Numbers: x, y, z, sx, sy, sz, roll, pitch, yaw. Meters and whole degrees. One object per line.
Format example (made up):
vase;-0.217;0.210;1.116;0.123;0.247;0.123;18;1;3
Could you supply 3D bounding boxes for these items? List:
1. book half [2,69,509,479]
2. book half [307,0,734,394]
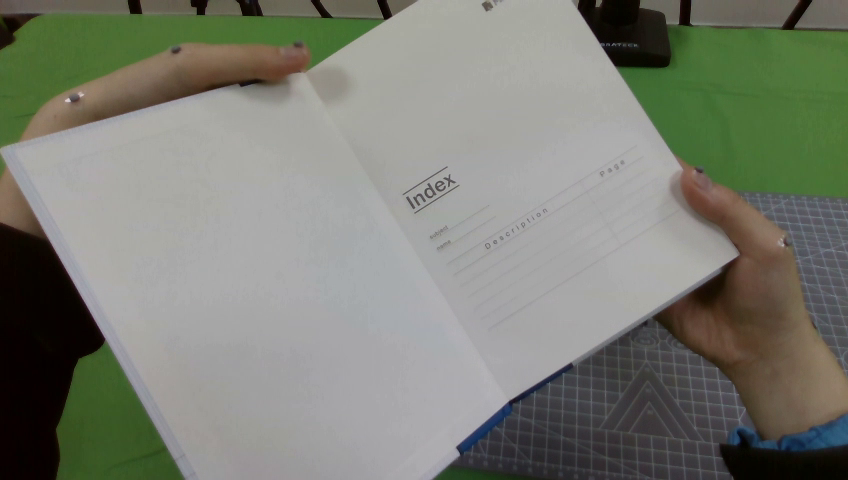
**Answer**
book half;-0.063;0.024;0.273;0.143;0.007;0.209;-28;85;-33
book half;0.050;-0.044;0.324;0.148;0.016;0.210;-28;85;1
